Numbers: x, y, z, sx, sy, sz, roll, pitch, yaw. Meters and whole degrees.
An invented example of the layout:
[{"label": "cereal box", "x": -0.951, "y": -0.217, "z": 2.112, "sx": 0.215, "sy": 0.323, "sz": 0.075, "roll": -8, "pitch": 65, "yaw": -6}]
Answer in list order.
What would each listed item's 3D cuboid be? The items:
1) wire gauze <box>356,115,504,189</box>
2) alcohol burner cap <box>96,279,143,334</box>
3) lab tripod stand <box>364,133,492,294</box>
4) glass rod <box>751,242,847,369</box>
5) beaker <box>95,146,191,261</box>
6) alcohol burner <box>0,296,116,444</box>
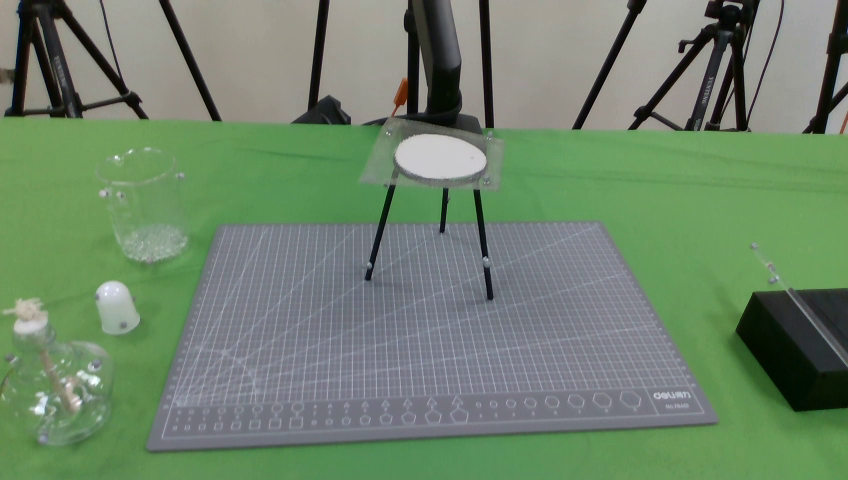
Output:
[{"label": "wire gauze", "x": 0.011, "y": -0.082, "z": 0.561, "sx": 0.121, "sy": 0.011, "sz": 0.124, "roll": 9, "pitch": 36, "yaw": 5}, {"label": "alcohol burner cap", "x": -0.274, "y": 0.057, "z": 0.541, "sx": 0.034, "sy": 0.048, "sz": 0.033, "roll": 2, "pitch": 36, "yaw": -1}, {"label": "lab tripod stand", "x": 0.015, "y": -0.027, "z": 0.601, "sx": 0.148, "sy": 0.132, "sz": 0.147, "roll": 4, "pitch": 36, "yaw": -3}, {"label": "glass rod", "x": 0.340, "y": 0.062, "z": 0.539, "sx": 0.008, "sy": 0.008, "sz": 0.197, "roll": 1, "pitch": 36, "yaw": -4}, {"label": "beaker", "x": -0.285, "y": -0.037, "z": 0.619, "sx": 0.083, "sy": 0.101, "sz": 0.074, "roll": 27, "pitch": 41, "yaw": 29}, {"label": "alcohol burner", "x": -0.269, "y": 0.089, "z": 0.435, "sx": 0.078, "sy": 0.120, "sz": 0.077, "roll": 1, "pitch": 36, "yaw": 0}]
